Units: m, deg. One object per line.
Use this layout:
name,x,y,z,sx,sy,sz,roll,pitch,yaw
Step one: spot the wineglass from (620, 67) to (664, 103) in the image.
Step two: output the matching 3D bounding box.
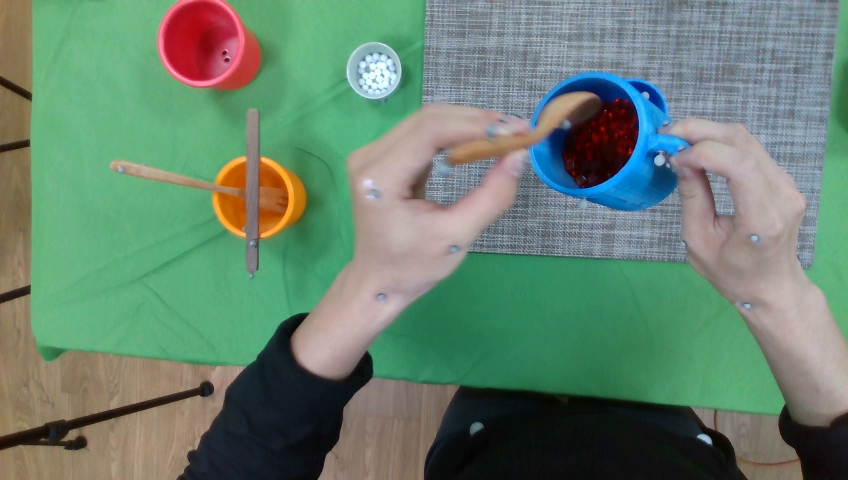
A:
wineglass,0.182,-0.124,0.603,0.073,0.172,0.074,0,95,5

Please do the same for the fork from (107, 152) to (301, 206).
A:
fork,-0.230,-0.066,0.660,0.209,0.018,0.028,10,105,-40

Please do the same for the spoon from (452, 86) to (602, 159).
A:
spoon,0.065,-0.067,0.347,0.041,0.193,0.022,-22,98,34

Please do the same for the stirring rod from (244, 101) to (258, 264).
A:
stirring rod,-0.188,-0.061,0.655,0.014,0.006,0.176,2,96,5

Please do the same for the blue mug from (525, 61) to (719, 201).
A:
blue mug,0.146,-0.071,0.430,0.115,0.106,0.082,15,96,35

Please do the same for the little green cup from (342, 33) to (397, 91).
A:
little green cup,-0.059,-0.199,0.687,0.061,0.038,0.061,1,96,6
